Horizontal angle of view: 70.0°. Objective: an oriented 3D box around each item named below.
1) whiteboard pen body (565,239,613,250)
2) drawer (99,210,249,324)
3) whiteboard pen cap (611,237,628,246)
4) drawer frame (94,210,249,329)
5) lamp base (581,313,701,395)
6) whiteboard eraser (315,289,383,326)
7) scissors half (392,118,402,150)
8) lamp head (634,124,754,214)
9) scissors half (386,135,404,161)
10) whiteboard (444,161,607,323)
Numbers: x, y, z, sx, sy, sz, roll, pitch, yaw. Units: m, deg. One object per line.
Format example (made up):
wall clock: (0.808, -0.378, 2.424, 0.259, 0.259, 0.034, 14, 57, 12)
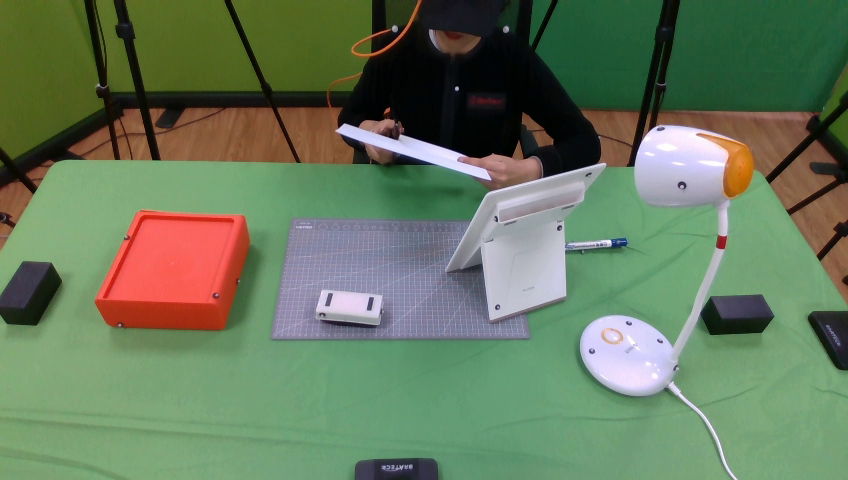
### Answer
whiteboard pen body: (0.331, 0.008, 1.211, 0.141, 0.017, 0.017, -5, 47, -4)
drawer: (-0.435, 0.044, 1.081, 0.194, 0.073, 0.210, 3, 47, -2)
whiteboard pen cap: (0.390, 0.004, 1.215, 0.033, 0.018, 0.018, -7, 47, -2)
drawer frame: (-0.434, 0.048, 1.076, 0.202, 0.083, 0.212, 2, 47, -3)
lamp base: (0.361, 0.144, 0.972, 0.178, 0.181, 0.160, 34, 53, 23)
whiteboard eraser: (-0.130, 0.119, 1.054, 0.113, 0.042, 0.055, 6, 47, 1)
scissors half: (-0.053, -0.221, 1.279, 0.013, 0.040, 0.174, 15, 28, -14)
lamp head: (0.351, -0.089, 0.775, 0.112, 0.113, 0.122, -30, 30, -28)
scissors half: (-0.060, -0.199, 1.284, 0.013, 0.175, 0.040, 10, 82, -13)
whiteboard: (0.186, 0.025, 1.029, 0.217, 0.306, 0.143, -14, 68, -18)
